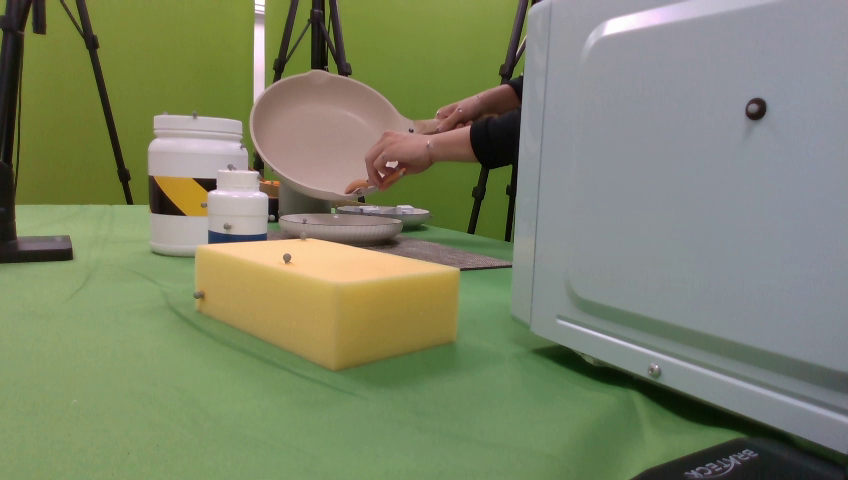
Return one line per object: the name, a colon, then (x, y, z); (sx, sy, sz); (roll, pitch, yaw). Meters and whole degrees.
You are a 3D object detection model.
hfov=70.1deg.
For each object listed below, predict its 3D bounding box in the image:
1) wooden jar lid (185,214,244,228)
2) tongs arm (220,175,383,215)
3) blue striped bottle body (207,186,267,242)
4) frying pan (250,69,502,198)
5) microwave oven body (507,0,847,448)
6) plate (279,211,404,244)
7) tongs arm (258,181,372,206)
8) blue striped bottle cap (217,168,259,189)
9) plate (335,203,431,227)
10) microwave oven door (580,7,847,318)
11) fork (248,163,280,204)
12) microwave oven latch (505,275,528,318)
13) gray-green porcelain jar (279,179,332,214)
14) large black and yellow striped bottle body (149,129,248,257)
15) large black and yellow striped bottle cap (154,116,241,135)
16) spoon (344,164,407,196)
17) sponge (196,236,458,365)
wooden jar lid: (-0.404, -0.037, 1.169); (0.108, 0.020, 0.108); (3, 7, 0)
tongs arm: (-0.285, -0.105, 1.445); (0.389, 0.027, 0.028); (9, -3, -23)
blue striped bottle body: (-0.204, -0.016, 0.663); (0.063, 0.120, 0.063); (2, 7, 0)
frying pan: (-0.078, -0.210, 1.169); (0.489, 0.305, 0.103); (-9, -29, -13)
microwave oven body: (0.331, -0.042, 0.425); (0.444, 0.260, 0.324); (-2, 8, -31)
plate: (-0.138, -0.022, 1.021); (0.209, 0.038, 0.209); (2, 8, 0)
tongs arm: (-0.241, -0.095, 1.374); (0.387, 0.026, 0.050); (9, 1, -37)
blue striped bottle cap: (-0.202, -0.067, 0.656); (0.044, 0.020, 0.044); (0, 10, 0)
plate: (-0.089, -0.053, 1.309); (0.208, 0.039, 0.207); (2, 8, 0)
microwave oven door: (0.295, -0.067, 0.570); (0.358, 0.243, 0.039); (-3, 9, -31)
fork: (-0.396, -0.143, 1.486); (0.028, 0.018, 0.208); (20, -26, 45)
microwave oven latch: (0.100, 0.042, 0.472); (0.079, 0.029, 0.030); (-2, 8, -30)
gray-green porcelain jar: (-0.238, -0.092, 1.221); (0.106, 0.126, 0.106); (1, 7, 0)
large black and yellow striped bottle body: (-0.315, -0.075, 0.854); (0.131, 0.184, 0.130); (1, 7, 0)
large black and yellow striped bottle cap: (-0.314, -0.158, 0.843); (0.115, 0.019, 0.115); (3, 7, 0)
spoon: (-0.082, -0.101, 1.014); (0.042, 0.021, 0.193); (-41, 19, -33)
sponge: (-0.087, 0.039, 0.500); (0.206, 0.061, 0.119); (8, 10, 44)
